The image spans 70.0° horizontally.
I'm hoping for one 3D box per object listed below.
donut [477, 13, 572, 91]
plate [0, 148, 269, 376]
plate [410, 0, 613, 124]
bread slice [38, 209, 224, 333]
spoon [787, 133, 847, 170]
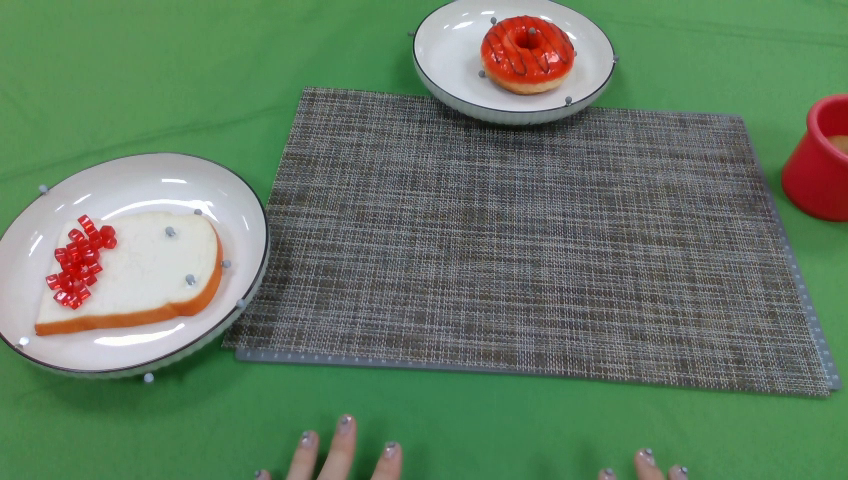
[{"bbox_3d":[0.103,-0.193,0.624,0.099,0.048,0.098,1,55,-2],"label":"donut"},{"bbox_3d":[-0.226,0.013,0.479,0.209,0.038,0.207,1,54,-1],"label":"plate"},{"bbox_3d":[0.089,-0.188,0.634,0.208,0.039,0.205,1,52,-1],"label":"plate"},{"bbox_3d":[-0.227,0.018,0.479,0.132,0.019,0.104,-7,54,-5],"label":"bread slice"},{"bbox_3d":[0.404,-0.088,0.499,0.193,0.022,0.041,-7,37,45],"label":"spoon"}]
